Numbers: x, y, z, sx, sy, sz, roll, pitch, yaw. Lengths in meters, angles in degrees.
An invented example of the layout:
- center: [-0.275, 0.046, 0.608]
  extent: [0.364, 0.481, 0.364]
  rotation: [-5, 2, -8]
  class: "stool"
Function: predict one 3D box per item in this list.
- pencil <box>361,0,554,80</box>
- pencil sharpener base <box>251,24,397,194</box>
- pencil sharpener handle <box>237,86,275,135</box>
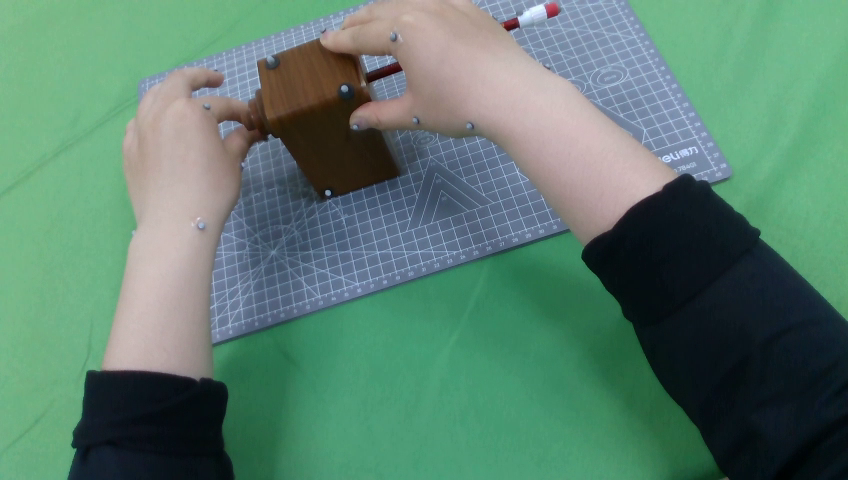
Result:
- center: [-0.002, -0.130, 0.422]
  extent: [0.194, 0.012, 0.012]
  rotation: [-20, 61, 3]
  class: "pencil"
- center: [-0.073, -0.092, 0.452]
  extent: [0.077, 0.108, 0.061]
  rotation: [-20, 61, 2]
  class: "pencil sharpener base"
- center: [-0.127, -0.090, 0.444]
  extent: [0.030, 0.067, 0.036]
  rotation: [-20, 102, 2]
  class: "pencil sharpener handle"
